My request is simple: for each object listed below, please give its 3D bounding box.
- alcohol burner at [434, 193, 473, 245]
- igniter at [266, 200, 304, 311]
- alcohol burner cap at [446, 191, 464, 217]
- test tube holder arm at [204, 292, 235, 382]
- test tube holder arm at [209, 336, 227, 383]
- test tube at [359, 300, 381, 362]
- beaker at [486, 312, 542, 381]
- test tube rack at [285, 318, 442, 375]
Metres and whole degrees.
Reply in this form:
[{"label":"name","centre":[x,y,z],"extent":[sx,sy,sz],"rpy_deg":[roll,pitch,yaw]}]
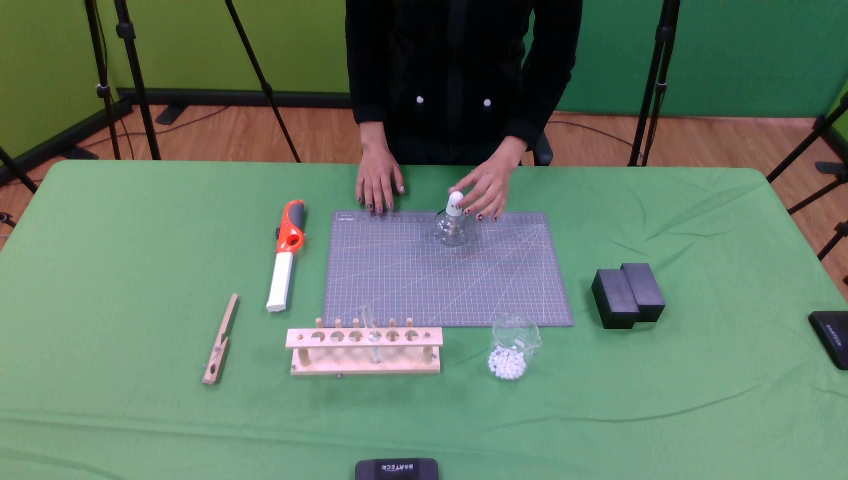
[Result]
[{"label":"alcohol burner","centre":[0.059,-0.047,1.180],"extent":[0.078,0.120,0.077],"rpy_deg":[1,48,-1]},{"label":"igniter","centre":[-0.263,0.020,1.156],"extent":[0.057,0.025,0.274],"rpy_deg":[-6,46,4]},{"label":"alcohol burner cap","centre":[0.060,-0.072,1.154],"extent":[0.034,0.048,0.033],"rpy_deg":[4,41,-4]},{"label":"test tube holder arm","centre":[-0.343,0.159,1.020],"extent":[0.013,0.015,0.177],"rpy_deg":[27,39,-27]},{"label":"test tube holder arm","centre":[-0.338,0.193,0.991],"extent":[0.010,0.015,0.087],"rpy_deg":[28,39,-26]},{"label":"test tube","centre":[-0.083,0.144,0.940],"extent":[0.017,0.151,0.017],"rpy_deg":[-3,46,3]},{"label":"beaker","centre":[0.144,0.177,0.985],"extent":[0.084,0.101,0.074],"rpy_deg":[22,49,16]},{"label":"test tube rack","centre":[-0.095,0.168,0.986],"extent":[0.242,0.085,0.066],"rpy_deg":[0,46,-4]}]
